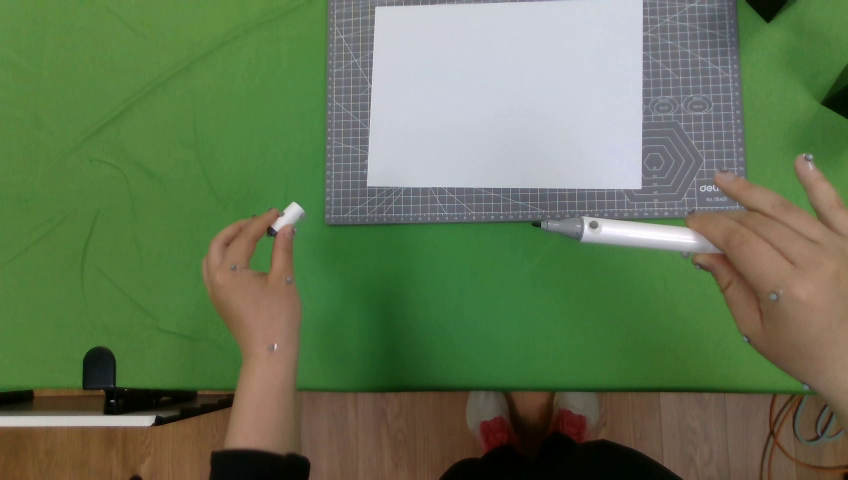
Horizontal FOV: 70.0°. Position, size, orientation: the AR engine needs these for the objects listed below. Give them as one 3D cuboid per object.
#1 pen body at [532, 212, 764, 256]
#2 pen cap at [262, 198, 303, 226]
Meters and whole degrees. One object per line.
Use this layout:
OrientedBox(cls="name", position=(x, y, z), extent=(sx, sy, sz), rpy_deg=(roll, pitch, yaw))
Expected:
OrientedBox(cls="pen body", position=(0.139, -0.004, 0.379), extent=(0.144, 0.017, 0.017), rpy_deg=(7, 85, -2))
OrientedBox(cls="pen cap", position=(-0.132, -0.025, 0.565), extent=(0.038, 0.017, 0.017), rpy_deg=(-21, 81, 15))
